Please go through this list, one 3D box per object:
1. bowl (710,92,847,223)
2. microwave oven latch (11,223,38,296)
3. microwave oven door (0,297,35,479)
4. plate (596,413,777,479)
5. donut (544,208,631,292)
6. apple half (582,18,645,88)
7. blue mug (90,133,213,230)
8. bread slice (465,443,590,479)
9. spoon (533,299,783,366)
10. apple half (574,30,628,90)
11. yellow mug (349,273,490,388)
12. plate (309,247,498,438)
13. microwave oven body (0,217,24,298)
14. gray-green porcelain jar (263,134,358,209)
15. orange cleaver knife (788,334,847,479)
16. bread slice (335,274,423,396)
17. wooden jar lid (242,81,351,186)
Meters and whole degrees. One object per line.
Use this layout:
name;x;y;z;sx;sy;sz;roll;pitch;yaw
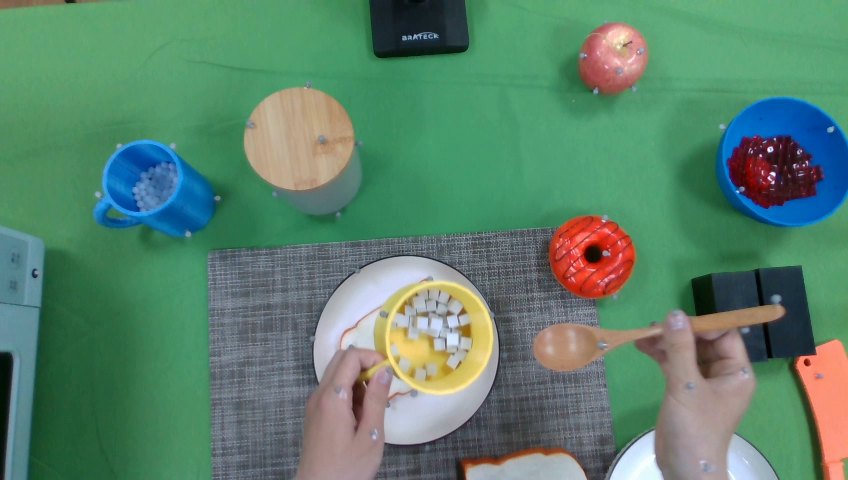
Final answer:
bowl;0.399;-0.087;0.708;0.151;0.077;0.151;0;81;-1
microwave oven latch;-0.447;0.022;0.667;0.030;0.029;0.079;1;81;-2
microwave oven door;-0.443;0.221;0.532;0.039;0.244;0.354;-1;80;-2
plate;0.285;0.295;0.664;0.209;0.038;0.208;0;81;-1
donut;0.188;0.012;0.700;0.099;0.048;0.098;0;82;-1
apple half;0.232;-0.228;0.729;0.053;0.075;0.080;-36;79;-12
blue mug;-0.305;-0.053;0.668;0.116;0.106;0.082;-29;82;-6
bread slice;0.118;0.275;0.636;0.135;0.018;0.106;-8;77;-23
spoon;0.184;0.071;0.492;0.193;0.022;0.041;-14;65;23
apple half;0.202;-0.205;0.722;0.033;0.081;0.081;-37;83;-12
yellow mug;-0.010;0.088;0.556;0.131;0.064;0.100;-28;92;-13
plate;-0.022;0.113;0.680;0.208;0.039;0.207;0;81;-2
microwave oven body;-0.590;0.182;0.539;0.326;0.261;0.440;-1;81;-2
gray-green porcelain jar;-0.128;-0.094;0.670;0.106;0.127;0.105;0;80;-1
orange cleaver knife;0.467;0.215;0.693;0.077;0.012;0.210;-2;80;-8
bread slice;-0.031;0.114;0.681;0.131;0.019;0.104;-30;83;-6
wooden jar lid;-0.127;-0.105;0.608;0.108;0.021;0.108;0;79;-1
